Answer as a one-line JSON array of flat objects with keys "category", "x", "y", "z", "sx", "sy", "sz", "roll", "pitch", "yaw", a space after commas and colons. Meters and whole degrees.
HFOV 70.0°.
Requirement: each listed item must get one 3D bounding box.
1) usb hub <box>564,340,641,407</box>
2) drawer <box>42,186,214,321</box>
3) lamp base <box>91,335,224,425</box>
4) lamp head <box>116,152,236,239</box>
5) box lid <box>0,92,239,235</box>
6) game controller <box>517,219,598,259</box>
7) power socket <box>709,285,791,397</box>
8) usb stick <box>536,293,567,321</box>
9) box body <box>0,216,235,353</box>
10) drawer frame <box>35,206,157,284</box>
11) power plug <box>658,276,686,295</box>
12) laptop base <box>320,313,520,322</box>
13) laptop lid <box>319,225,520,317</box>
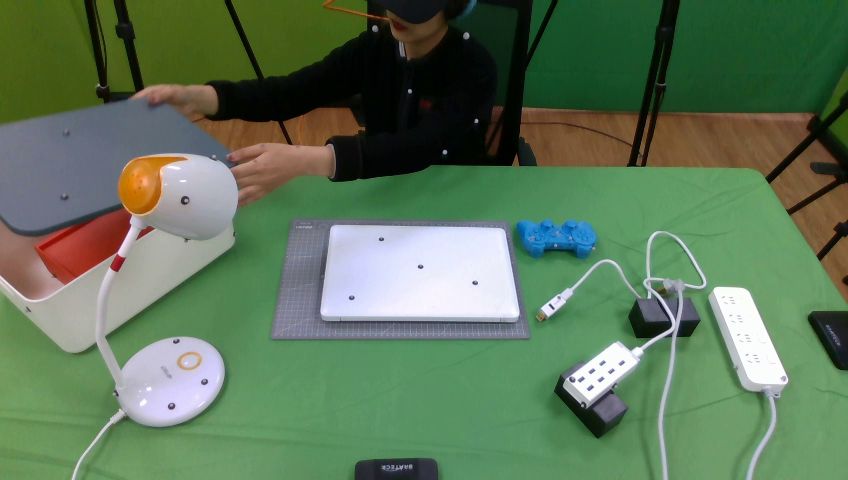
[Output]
[{"category": "usb hub", "x": 0.278, "y": 0.205, "z": 0.944, "sx": 0.125, "sy": 0.025, "sz": 0.049, "roll": -27, "pitch": 52, "yaw": -28}, {"category": "drawer", "x": -0.529, "y": 0.019, "z": 1.097, "sx": 0.194, "sy": 0.073, "sz": 0.211, "roll": 29, "pitch": 53, "yaw": 20}, {"category": "lamp base", "x": -0.401, "y": 0.171, "z": 0.892, "sx": 0.160, "sy": 0.181, "sz": 0.179, "roll": 30, "pitch": 53, "yaw": 23}, {"category": "lamp head", "x": -0.315, "y": -0.057, "z": 0.747, "sx": 0.112, "sy": 0.112, "sz": 0.123, "roll": 26, "pitch": 10, "yaw": 20}, {"category": "box lid", "x": -0.516, "y": -0.141, "z": 0.975, "sx": 0.262, "sy": 0.015, "sz": 0.371, "roll": 37, "pitch": 41, "yaw": 20}, {"category": "game controller", "x": 0.269, "y": -0.012, "z": 1.210, "sx": 0.155, "sy": 0.052, "sz": 0.096, "roll": 1, "pitch": 50, "yaw": -2}, {"category": "power socket", "x": 0.567, "y": 0.167, "z": 1.064, "sx": 0.072, "sy": 0.033, "sz": 0.225, "roll": 2, "pitch": 46, "yaw": 0}, {"category": "usb stick", "x": 0.226, "y": 0.122, "z": 1.083, "sx": 0.059, "sy": 0.027, "sz": 0.021, "roll": -38, "pitch": 76, "yaw": -8}, {"category": "box body", "x": -0.550, "y": -0.006, "z": 1.068, "sx": 0.253, "sy": 0.161, "sz": 0.363, "roll": 30, "pitch": 51, "yaw": 23}, {"category": "drawer frame", "x": -0.531, "y": 0.017, "z": 1.091, "sx": 0.201, "sy": 0.083, "sz": 0.213, "roll": 28, "pitch": 52, "yaw": 22}, {"category": "power plug", "x": 0.450, "y": 0.087, "z": 1.113, "sx": 0.073, "sy": 0.052, "sz": 0.035, "roll": -12, "pitch": 71, "yaw": -54}, {"category": "laptop base", "x": -0.008, "y": 0.062, "z": 1.138, "sx": 0.354, "sy": 0.023, "sz": 0.234, "roll": 0, "pitch": 42, "yaw": -3}, {"category": "laptop lid", "x": -0.008, "y": 0.052, "z": 1.131, "sx": 0.357, "sy": 0.013, "sz": 0.240, "roll": 2, "pitch": 43, "yaw": -2}]
